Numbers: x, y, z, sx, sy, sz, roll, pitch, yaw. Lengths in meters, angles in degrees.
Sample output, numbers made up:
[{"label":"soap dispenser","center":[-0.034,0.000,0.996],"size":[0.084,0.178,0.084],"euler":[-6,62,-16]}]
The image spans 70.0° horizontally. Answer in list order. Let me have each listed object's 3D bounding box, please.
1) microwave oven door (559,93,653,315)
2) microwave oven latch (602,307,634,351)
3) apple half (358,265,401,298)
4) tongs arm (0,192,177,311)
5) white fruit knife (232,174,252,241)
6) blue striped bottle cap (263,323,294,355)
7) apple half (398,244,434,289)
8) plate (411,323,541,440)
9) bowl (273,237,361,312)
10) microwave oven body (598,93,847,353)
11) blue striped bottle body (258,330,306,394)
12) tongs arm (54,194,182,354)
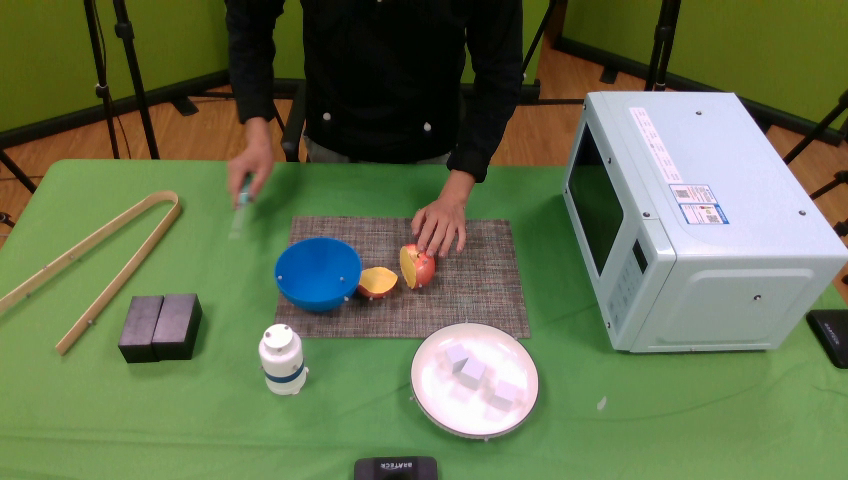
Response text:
[{"label":"microwave oven door","center":[0.327,-0.074,1.123],"size":[0.039,0.245,0.353],"euler":[-1,46,-5]},{"label":"microwave oven latch","center":[0.332,0.153,1.044],"size":[0.030,0.029,0.078],"euler":[-1,45,-4]},{"label":"apple half","center":[-0.080,0.081,1.097],"size":[0.081,0.033,0.081],"euler":[4,38,-3]},{"label":"tongs arm","center":[-0.618,0.019,1.123],"size":[0.050,0.026,0.384],"euler":[23,47,17]},{"label":"white fruit knife","center":[-0.345,-0.065,1.146],"size":[0.016,0.027,0.206],"euler":[5,39,-12]},{"label":"blue striped bottle cap","center":[-0.217,0.146,0.900],"size":[0.044,0.021,0.044],"euler":[1,46,-1]},{"label":"apple half","center":[-0.010,0.048,1.113],"size":[0.053,0.075,0.080],"euler":[-12,51,-24]},{"label":"plate","center":[0.082,0.228,0.976],"size":[0.208,0.039,0.206],"euler":[2,45,-2]},{"label":"bowl","center":[-0.186,0.075,1.069],"size":[0.151,0.077,0.150],"euler":[3,46,-3]},{"label":"microwave oven body","center":[0.475,-0.041,1.109],"size":[0.326,0.261,0.438],"euler":[-1,45,-4]},{"label":"blue striped bottle body","center":[-0.220,0.182,0.937],"size":[0.063,0.121,0.062],"euler":[2,46,-2]},{"label":"tongs arm","center":[-0.543,0.048,1.107],"size":[0.028,0.028,0.385],"euler":[11,45,10]}]
